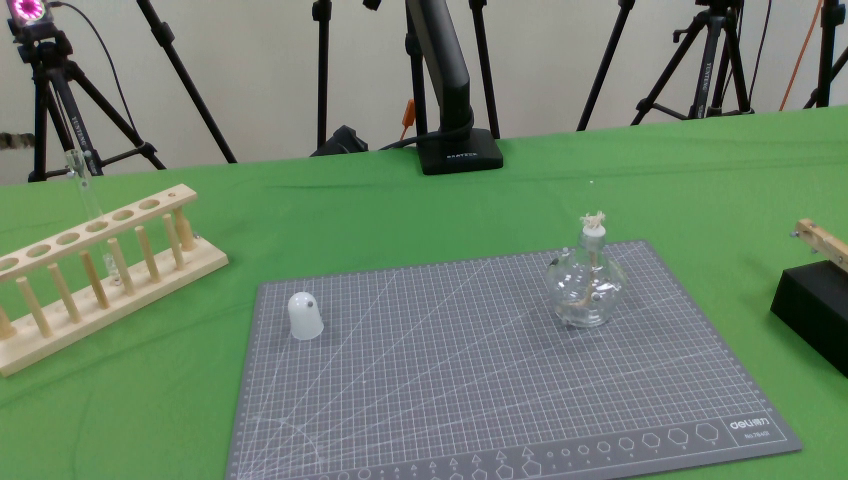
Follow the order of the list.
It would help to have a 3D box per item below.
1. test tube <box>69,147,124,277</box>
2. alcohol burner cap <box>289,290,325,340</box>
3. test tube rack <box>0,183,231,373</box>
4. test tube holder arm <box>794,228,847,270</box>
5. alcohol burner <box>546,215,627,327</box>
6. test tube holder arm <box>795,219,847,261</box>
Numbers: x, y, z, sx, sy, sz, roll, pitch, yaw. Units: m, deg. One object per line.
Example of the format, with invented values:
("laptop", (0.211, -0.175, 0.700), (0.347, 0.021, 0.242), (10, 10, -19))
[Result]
("test tube", (-0.341, -0.025, 0.634), (0.017, 0.151, 0.017), (-1, 31, 1))
("alcohol burner cap", (-0.117, 0.071, 0.599), (0.034, 0.048, 0.033), (-2, 35, 2))
("test tube rack", (-0.337, 0.030, 0.641), (0.066, 0.086, 0.242), (27, 44, 37))
("test tube holder arm", (0.410, 0.033, 0.553), (0.015, 0.013, 0.176), (-9, 34, -11))
("alcohol burner", (0.158, 0.025, 0.582), (0.078, 0.120, 0.077), (-1, 37, 1))
("test tube holder arm", (0.399, 0.005, 0.587), (0.015, 0.010, 0.087), (-9, 34, -11))
